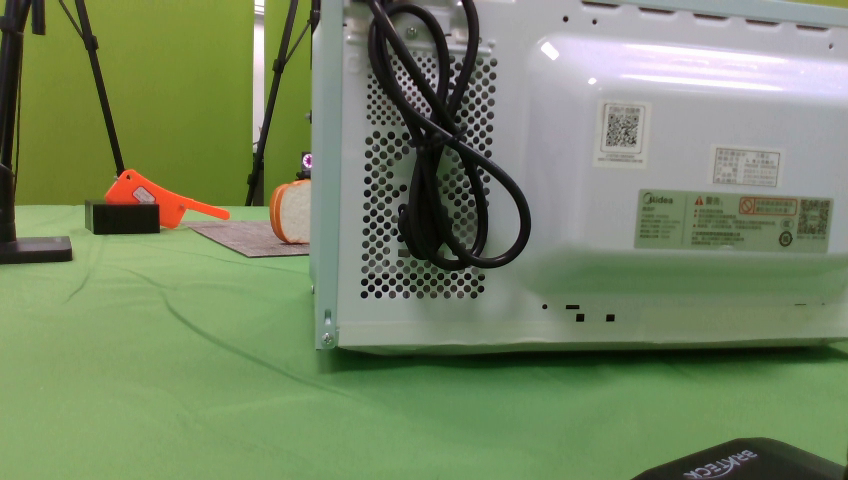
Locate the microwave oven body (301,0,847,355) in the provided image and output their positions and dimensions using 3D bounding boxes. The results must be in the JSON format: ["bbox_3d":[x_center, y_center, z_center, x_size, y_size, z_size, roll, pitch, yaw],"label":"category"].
[{"bbox_3d":[0.120,-0.053,0.535,0.443,0.260,0.325,2,7,-11],"label":"microwave oven body"}]

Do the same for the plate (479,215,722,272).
[{"bbox_3d":[0.153,0.000,0.545,0.208,0.039,0.207,0,5,0],"label":"plate"}]

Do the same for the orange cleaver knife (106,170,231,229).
[{"bbox_3d":[-0.458,-0.060,1.097,0.212,0.077,0.012,23,-4,-38],"label":"orange cleaver knife"}]

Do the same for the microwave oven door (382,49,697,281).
[{"bbox_3d":[0.135,-0.077,0.685,0.357,0.243,0.039,1,8,-12],"label":"microwave oven door"}]

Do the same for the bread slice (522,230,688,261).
[{"bbox_3d":[0.173,0.005,0.564,0.134,0.018,0.107,-4,3,30],"label":"bread slice"}]

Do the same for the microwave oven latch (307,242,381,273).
[{"bbox_3d":[-0.086,0.019,0.656,0.079,0.029,0.030,2,7,-11],"label":"microwave oven latch"}]
